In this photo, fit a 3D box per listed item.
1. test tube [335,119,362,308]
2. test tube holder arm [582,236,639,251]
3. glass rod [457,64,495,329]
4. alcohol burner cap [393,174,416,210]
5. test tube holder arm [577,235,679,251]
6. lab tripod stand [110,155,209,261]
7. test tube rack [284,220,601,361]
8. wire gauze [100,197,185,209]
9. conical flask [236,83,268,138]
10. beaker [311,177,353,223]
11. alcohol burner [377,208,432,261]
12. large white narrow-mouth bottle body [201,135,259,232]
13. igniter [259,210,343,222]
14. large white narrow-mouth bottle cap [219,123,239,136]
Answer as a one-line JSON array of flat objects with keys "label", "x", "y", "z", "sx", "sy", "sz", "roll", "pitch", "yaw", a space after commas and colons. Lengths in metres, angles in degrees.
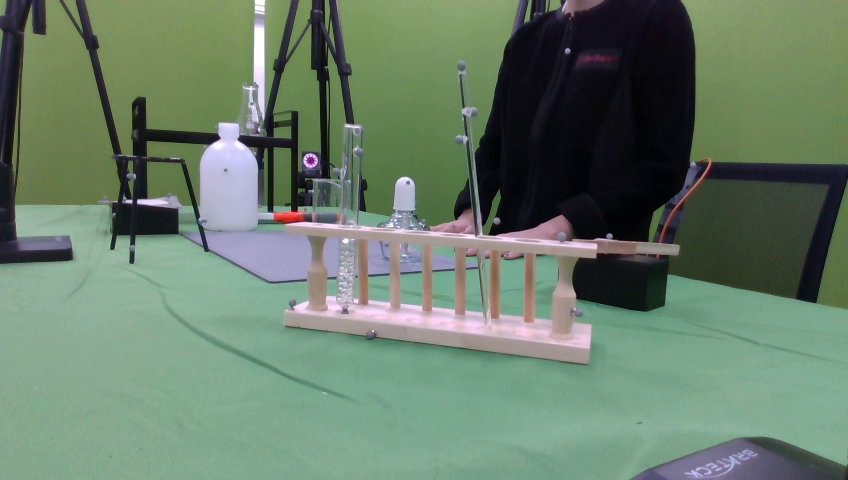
[{"label": "test tube", "x": -0.060, "y": -0.019, "z": 0.475, "sx": 0.017, "sy": 0.150, "sz": 0.017, "roll": 4, "pitch": 11, "yaw": 0}, {"label": "test tube holder arm", "x": 0.194, "y": 0.004, "z": 0.629, "sx": 0.088, "sy": 0.015, "sz": 0.010, "roll": 2, "pitch": 13, "yaw": -38}, {"label": "glass rod", "x": 0.040, "y": -0.029, "z": 0.449, "sx": 0.008, "sy": 0.199, "sz": 0.008, "roll": -7, "pitch": 9, "yaw": 1}, {"label": "alcohol burner cap", "x": -0.025, "y": -0.067, "z": 0.833, "sx": 0.034, "sy": 0.048, "sz": 0.034, "roll": 4, "pitch": 12, "yaw": -1}, {"label": "test tube holder arm", "x": 0.227, "y": 0.004, "z": 0.661, "sx": 0.179, "sy": 0.015, "sz": 0.013, "roll": 1, "pitch": 13, "yaw": -39}, {"label": "lab tripod stand", "x": -0.361, "y": -0.046, "z": 0.806, "sx": 0.148, "sy": 0.131, "sz": 0.148, "roll": 2, "pitch": 5, "yaw": 0}, {"label": "test tube rack", "x": 0.013, "y": 0.032, "z": 0.482, "sx": 0.242, "sy": 0.085, "sz": 0.067, "roll": 4, "pitch": 7, "yaw": 16}, {"label": "wire gauze", "x": -0.469, "y": -0.062, "z": 1.008, "sx": 0.126, "sy": 0.011, "sz": 0.121, "roll": -2, "pitch": 8, "yaw": -25}, {"label": "conical flask", "x": -0.400, "y": -0.298, "z": 1.396, "sx": 0.075, "sy": 0.122, "sz": 0.075, "roll": 2, "pitch": 8, "yaw": 0}, {"label": "beaker", "x": -0.167, "y": -0.064, "z": 1.106, "sx": 0.074, "sy": 0.100, "sz": 0.083, "roll": -2, "pitch": 9, "yaw": -26}, {"label": "alcohol burner", "x": -0.027, "y": -0.031, "z": 0.838, "sx": 0.078, "sy": 0.119, "sz": 0.078, "roll": 0, "pitch": 6, "yaw": 0}, {"label": "large white narrow-mouth bottle body", "x": -0.358, "y": -0.116, "z": 1.116, "sx": 0.102, "sy": 0.194, "sz": 0.102, "roll": 2, "pitch": 8, "yaw": 0}, {"label": "igniter", "x": -0.303, "y": -0.049, "z": 1.258, "sx": 0.278, "sy": 0.025, "sz": 0.057, "roll": -2, "pitch": -2, "yaw": -28}, {"label": "large white narrow-mouth bottle cap", "x": -0.356, "y": -0.201, "z": 1.104, "sx": 0.038, "sy": 0.024, "sz": 0.037, "roll": 2, "pitch": 8, "yaw": 0}]
